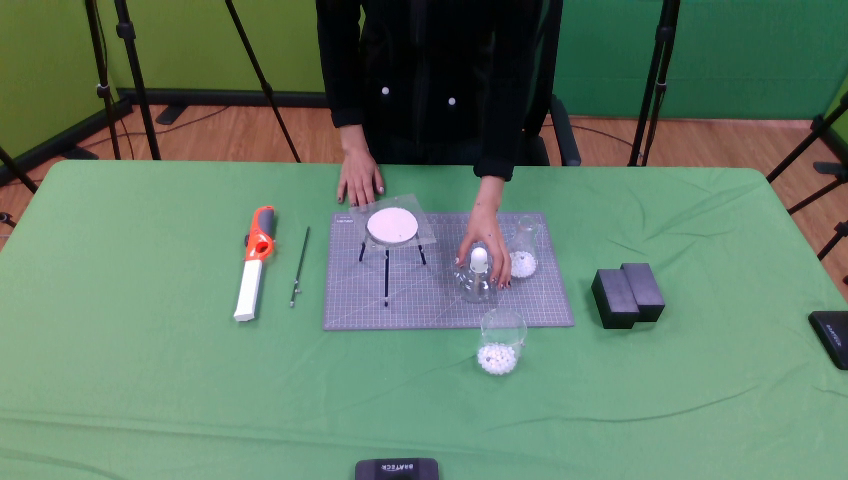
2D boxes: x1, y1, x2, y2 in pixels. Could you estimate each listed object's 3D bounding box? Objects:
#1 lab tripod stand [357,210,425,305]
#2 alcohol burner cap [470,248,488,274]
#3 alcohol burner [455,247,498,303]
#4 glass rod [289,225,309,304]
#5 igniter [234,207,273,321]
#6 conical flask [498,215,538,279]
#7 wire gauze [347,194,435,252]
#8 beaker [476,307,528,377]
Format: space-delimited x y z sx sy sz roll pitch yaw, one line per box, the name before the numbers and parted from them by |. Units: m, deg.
lab tripod stand | -0.060 0.020 1.094 0.148 0.132 0.147 3 44 -2
alcohol burner cap | 0.095 0.034 1.057 0.034 0.048 0.033 -3 53 4
alcohol burner | 0.095 0.057 1.085 0.078 0.120 0.077 1 47 -1
glass rod | -0.235 0.042 1.149 0.008 0.008 0.198 3 46 -1
igniter | -0.318 0.035 1.137 0.057 0.025 0.274 -8 46 3
conical flask | 0.183 0.010 1.131 0.075 0.122 0.075 2 46 -2
wire gauze | -0.058 -0.029 1.048 0.125 0.011 0.120 -12 48 -16
beaker | 0.122 0.171 0.991 0.084 0.101 0.073 -34 56 -30
